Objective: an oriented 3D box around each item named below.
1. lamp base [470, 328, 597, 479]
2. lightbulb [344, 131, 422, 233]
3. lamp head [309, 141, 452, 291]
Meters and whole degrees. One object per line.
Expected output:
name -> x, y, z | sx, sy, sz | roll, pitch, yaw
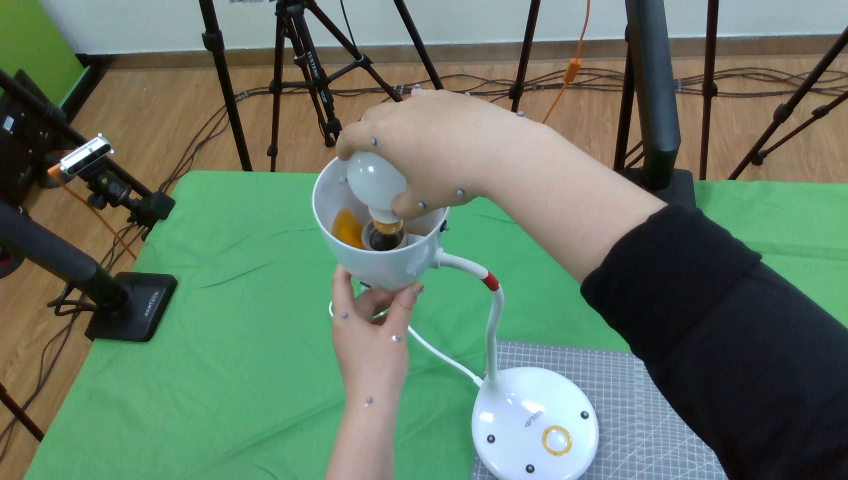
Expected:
lamp base -> 0.117, 0.184, 0.723 | 0.177, 0.182, 0.160 | 26, 62, 29
lightbulb -> -0.032, -0.040, 0.485 | 0.059, 0.108, 0.059 | 1, 58, -1
lamp head -> -0.031, -0.007, 0.528 | 0.112, 0.124, 0.111 | -3, 57, 5
